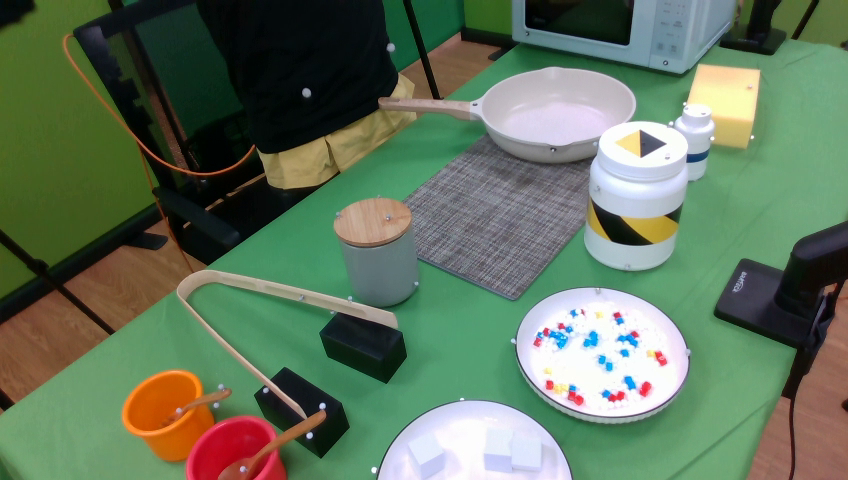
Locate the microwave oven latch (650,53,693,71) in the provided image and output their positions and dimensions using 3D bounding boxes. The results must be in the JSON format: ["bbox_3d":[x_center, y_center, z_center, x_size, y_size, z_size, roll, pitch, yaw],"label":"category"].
[{"bbox_3d":[0.531,-0.386,1.301,0.078,0.029,0.030,26,51,33],"label":"microwave oven latch"}]

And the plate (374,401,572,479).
[{"bbox_3d":[0.051,0.268,0.639,0.207,0.039,0.206,-3,40,3],"label":"plate"}]

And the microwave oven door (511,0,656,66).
[{"bbox_3d":[0.351,-0.539,1.349,0.353,0.245,0.039,24,50,31],"label":"microwave oven door"}]

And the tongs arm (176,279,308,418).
[{"bbox_3d":[-0.255,0.133,0.801,0.028,0.028,0.384,-41,40,-23],"label":"tongs arm"}]

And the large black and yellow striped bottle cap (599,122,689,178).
[{"bbox_3d":[0.296,-0.123,0.818,0.115,0.019,0.114,-5,40,5],"label":"large black and yellow striped bottle cap"}]

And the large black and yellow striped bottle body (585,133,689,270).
[{"bbox_3d":[0.305,-0.061,0.874,0.131,0.185,0.130,-4,41,4],"label":"large black and yellow striped bottle body"}]

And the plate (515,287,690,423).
[{"bbox_3d":[0.220,0.144,0.760,0.209,0.038,0.208,-4,40,4],"label":"plate"}]

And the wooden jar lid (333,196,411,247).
[{"bbox_3d":[-0.071,-0.023,0.830,0.108,0.021,0.108,-4,36,3],"label":"wooden jar lid"}]

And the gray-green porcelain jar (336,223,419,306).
[{"bbox_3d":[-0.064,0.024,0.872,0.106,0.127,0.105,-4,41,4],"label":"gray-green porcelain jar"}]

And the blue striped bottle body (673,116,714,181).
[{"bbox_3d":[0.451,-0.166,1.023,0.063,0.121,0.063,-4,41,4],"label":"blue striped bottle body"}]

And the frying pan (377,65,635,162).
[{"bbox_3d":[0.150,-0.254,1.176,0.488,0.103,0.306,6,41,3],"label":"frying pan"}]

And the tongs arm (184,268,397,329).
[{"bbox_3d":[-0.202,0.084,0.848,0.382,0.027,0.051,11,45,35],"label":"tongs arm"}]

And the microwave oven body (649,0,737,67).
[{"bbox_3d":[0.475,-0.602,1.411,0.438,0.261,0.327,23,50,32],"label":"microwave oven body"}]

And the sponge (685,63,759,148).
[{"bbox_3d":[0.569,-0.263,1.164,0.117,0.061,0.207,12,45,22],"label":"sponge"}]

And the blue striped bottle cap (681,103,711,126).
[{"bbox_3d":[0.446,-0.205,0.990,0.044,0.021,0.044,-5,43,5],"label":"blue striped bottle cap"}]

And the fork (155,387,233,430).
[{"bbox_3d":[-0.264,0.191,0.687,0.206,0.018,0.028,-33,7,44],"label":"fork"}]

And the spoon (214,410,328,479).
[{"bbox_3d":[-0.166,0.224,0.639,0.193,0.022,0.041,-40,32,29],"label":"spoon"}]
